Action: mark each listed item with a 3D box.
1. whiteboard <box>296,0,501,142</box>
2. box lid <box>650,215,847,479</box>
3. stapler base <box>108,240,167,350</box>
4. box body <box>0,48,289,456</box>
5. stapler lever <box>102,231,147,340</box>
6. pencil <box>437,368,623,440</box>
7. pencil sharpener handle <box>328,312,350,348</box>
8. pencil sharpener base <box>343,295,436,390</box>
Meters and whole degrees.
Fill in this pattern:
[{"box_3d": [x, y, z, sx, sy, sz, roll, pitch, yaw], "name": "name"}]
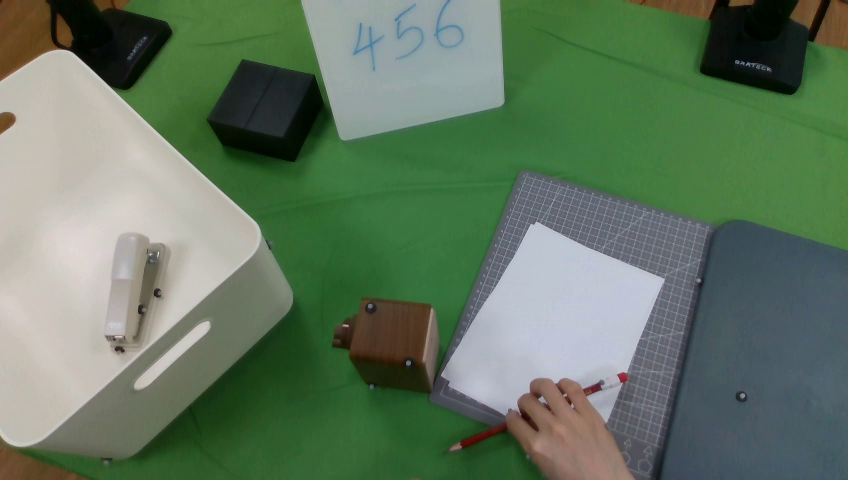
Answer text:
[{"box_3d": [-0.038, -0.302, 0.714, 0.217, 0.308, 0.142, -13, 44, -2], "name": "whiteboard"}, {"box_3d": [0.380, 0.158, 0.590, 0.262, 0.015, 0.369, 18, 66, 11], "name": "box lid"}, {"box_3d": [-0.319, 0.056, 0.670, 0.041, 0.024, 0.129, -1, 65, 5], "name": "stapler base"}, {"box_3d": [-0.347, 0.010, 0.623, 0.361, 0.161, 0.254, 39, 72, 20], "name": "box body"}, {"box_3d": [-0.321, 0.046, 0.646, 0.027, 0.040, 0.117, -1, 66, 5], "name": "stapler lever"}, {"box_3d": [0.104, 0.161, 0.592, 0.194, 0.012, 0.012, -19, 63, -3], "name": "pencil"}, {"box_3d": [-0.083, 0.090, 0.585, 0.030, 0.068, 0.035, 6, 67, 7], "name": "pencil sharpener handle"}, {"box_3d": [-0.032, 0.101, 0.590, 0.076, 0.108, 0.061, 6, 64, 7], "name": "pencil sharpener base"}]
